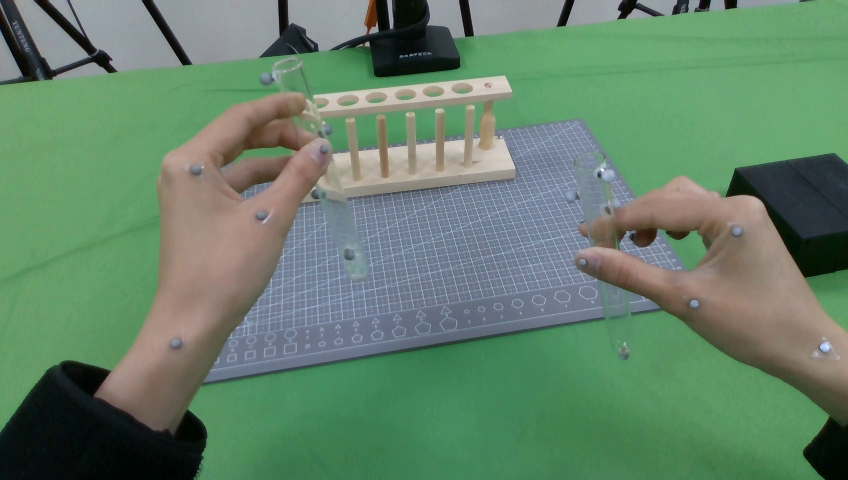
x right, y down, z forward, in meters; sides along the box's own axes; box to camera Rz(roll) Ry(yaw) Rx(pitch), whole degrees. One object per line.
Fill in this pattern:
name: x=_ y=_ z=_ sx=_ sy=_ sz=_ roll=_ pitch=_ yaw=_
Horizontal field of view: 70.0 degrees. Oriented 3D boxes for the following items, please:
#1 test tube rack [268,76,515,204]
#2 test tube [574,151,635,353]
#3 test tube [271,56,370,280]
test tube rack: x=-0.030 y=-0.103 z=0.624 sx=0.242 sy=0.086 sz=0.066 roll=-7 pitch=42 yaw=-4
test tube: x=0.102 y=0.014 z=0.335 sx=0.017 sy=0.152 sz=0.017 roll=-14 pitch=40 yaw=12
test tube: x=-0.055 y=-0.033 z=0.348 sx=0.017 sy=0.152 sz=0.017 roll=-8 pitch=40 yaw=7
